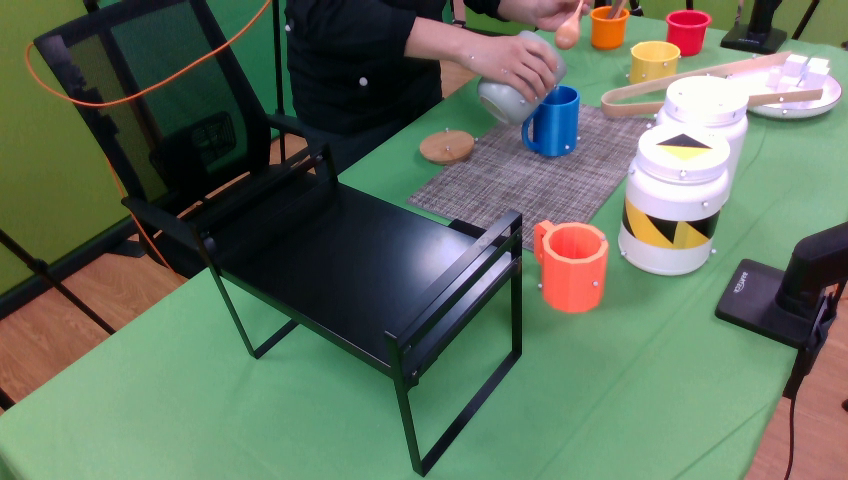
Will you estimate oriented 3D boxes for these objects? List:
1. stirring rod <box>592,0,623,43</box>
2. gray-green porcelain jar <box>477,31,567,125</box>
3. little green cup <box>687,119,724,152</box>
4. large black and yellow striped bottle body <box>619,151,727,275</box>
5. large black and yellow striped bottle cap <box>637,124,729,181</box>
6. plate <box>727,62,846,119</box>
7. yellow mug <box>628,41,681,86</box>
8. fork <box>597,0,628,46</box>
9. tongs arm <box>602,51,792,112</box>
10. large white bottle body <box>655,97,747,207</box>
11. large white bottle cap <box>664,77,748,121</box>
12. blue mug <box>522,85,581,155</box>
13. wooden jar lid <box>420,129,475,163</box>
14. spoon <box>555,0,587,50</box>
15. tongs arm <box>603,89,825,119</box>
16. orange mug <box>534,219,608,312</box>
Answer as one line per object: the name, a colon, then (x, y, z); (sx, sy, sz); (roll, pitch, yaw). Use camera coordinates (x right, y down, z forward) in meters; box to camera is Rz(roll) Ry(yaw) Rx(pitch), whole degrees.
stirring rod: (0.460, -0.557, 1.461); (0.014, 0.176, 0.006); (35, 11, 22)
gray-green porcelain jar: (0.162, -0.269, 1.028); (0.126, 0.107, 0.105); (-49, 48, 2)
little green cup: (0.513, -0.191, 1.109); (0.061, 0.039, 0.061); (-5, 40, 5)
large black and yellow striped bottle body: (0.354, -0.056, 0.865); (0.131, 0.185, 0.130); (-4, 41, 4)
large black and yellow striped bottle cap: (0.346, -0.119, 0.810); (0.115, 0.019, 0.114); (-5, 41, 5)
plate: (0.710, -0.292, 1.197); (0.207, 0.039, 0.206); (-4, 40, 4)
yellow mug: (0.494, -0.389, 1.321); (0.100, 0.064, 0.130); (-14, 40, -7)
fork: (0.479, -0.558, 1.455); (0.028, 0.019, 0.207); (35, 100, 38)
tongs arm: (0.552, -0.319, 1.224); (0.384, 0.027, 0.050); (-10, 43, 7)
large white bottle body: (0.431, -0.148, 0.959); (0.130, 0.185, 0.130); (-4, 41, 4)
large white bottle cap: (0.421, -0.212, 0.905); (0.115, 0.018, 0.114); (-4, 40, 4)
blue mug: (0.233, -0.218, 1.127); (0.117, 0.106, 0.081); (-23, 43, -16)
wooden jar lid: (0.047, -0.183, 1.183); (0.108, 0.021, 0.108); (-6, 37, 5)
spoon: (0.278, -0.415, 1.075); (0.041, 0.022, 0.193); (20, 67, 14)
tongs arm: (0.546, -0.262, 1.162); (0.386, 0.028, 0.028); (-1, 49, 18)
orange mug: (0.200, 0.027, 0.858); (0.084, 0.101, 0.125); (-24, 48, -19)
